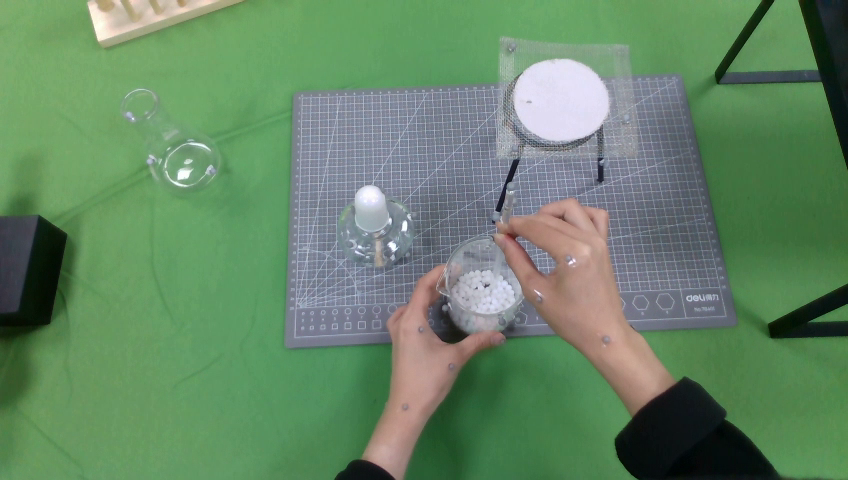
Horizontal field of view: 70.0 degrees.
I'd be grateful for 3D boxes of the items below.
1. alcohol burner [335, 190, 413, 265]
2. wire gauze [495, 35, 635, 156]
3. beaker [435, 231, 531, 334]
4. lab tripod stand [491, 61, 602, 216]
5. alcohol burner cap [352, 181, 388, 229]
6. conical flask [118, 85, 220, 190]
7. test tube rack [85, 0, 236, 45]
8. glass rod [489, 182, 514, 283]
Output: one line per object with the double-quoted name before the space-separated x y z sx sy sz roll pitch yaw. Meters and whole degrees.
"alcohol burner" -0.049 -0.020 0.585 0.078 0.120 0.077 0 68 -1
"wire gauze" 0.124 -0.130 0.540 0.121 0.011 0.124 3 70 0
"beaker" 0.052 0.045 0.566 0.084 0.101 0.073 -12 69 -3
"lab tripod stand" 0.119 -0.102 0.601 0.148 0.132 0.147 0 68 0
"alcohol burner cap" -0.051 -0.035 0.551 0.034 0.048 0.033 1 63 -2
"conical flask" -0.264 -0.108 0.618 0.075 0.122 0.075 0 69 1
"test tube rack" -0.291 -0.322 0.717 0.242 0.086 0.066 -22 71 -7
"glass rod" 0.064 0.001 0.510 0.008 0.201 0.008 -1 67 2
